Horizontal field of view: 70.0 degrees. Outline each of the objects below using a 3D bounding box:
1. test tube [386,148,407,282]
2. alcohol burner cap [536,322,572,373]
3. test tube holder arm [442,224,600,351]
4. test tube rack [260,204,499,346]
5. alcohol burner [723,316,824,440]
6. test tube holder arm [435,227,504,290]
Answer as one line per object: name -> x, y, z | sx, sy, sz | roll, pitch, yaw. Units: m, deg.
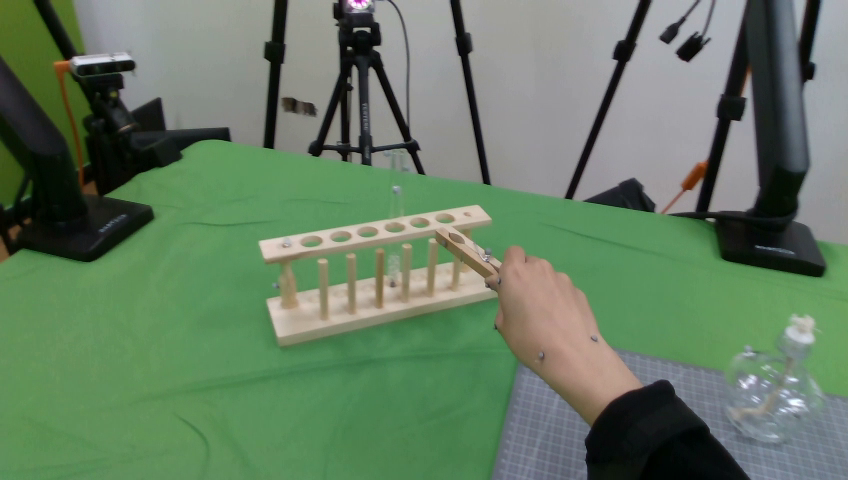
test tube -> -0.029, -0.022, 0.631 | 0.017, 0.151, 0.017 | 4, 27, -1
alcohol burner cap -> 0.126, 0.099, 0.577 | 0.034, 0.048, 0.033 | 2, 34, -1
test tube holder arm -> 0.074, 0.035, 0.505 | 0.013, 0.015, 0.176 | -32, 49, -27
test tube rack -> -0.040, 0.032, 0.637 | 0.243, 0.086, 0.066 | -10, 34, -20
alcohol burner -> 0.296, 0.109, 0.504 | 0.078, 0.120, 0.077 | 2, 34, -1
test tube holder arm -> 0.041, 0.015, 0.528 | 0.010, 0.015, 0.087 | -32, 49, -27
